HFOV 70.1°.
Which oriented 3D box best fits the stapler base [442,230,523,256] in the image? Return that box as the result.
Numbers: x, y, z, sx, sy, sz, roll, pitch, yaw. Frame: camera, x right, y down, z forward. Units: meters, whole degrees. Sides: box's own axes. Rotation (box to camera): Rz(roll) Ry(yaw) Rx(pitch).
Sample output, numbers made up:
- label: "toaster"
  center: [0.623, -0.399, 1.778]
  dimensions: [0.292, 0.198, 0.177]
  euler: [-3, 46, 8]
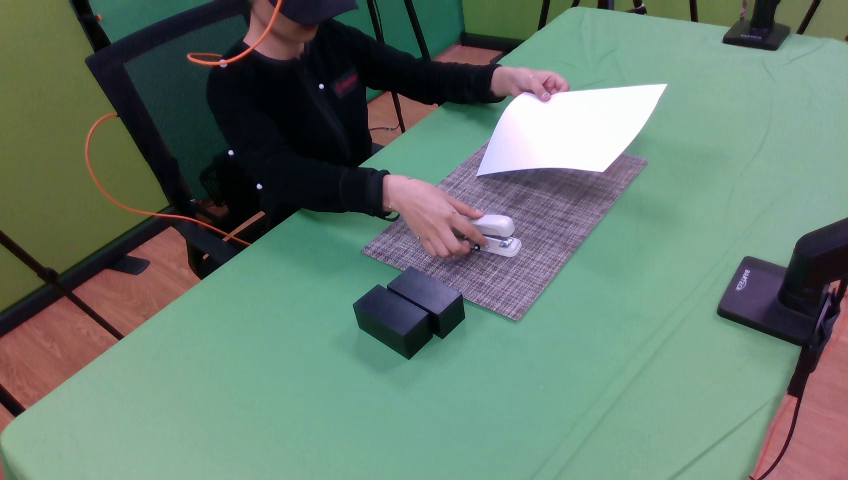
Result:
- label: "stapler base"
  center: [0.093, -0.007, 0.967]
  dimensions: [0.129, 0.024, 0.041]
  euler: [13, 42, 27]

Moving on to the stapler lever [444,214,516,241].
- label: "stapler lever"
  center: [0.088, -0.026, 0.952]
  dimensions: [0.117, 0.040, 0.027]
  euler: [13, 42, 27]
